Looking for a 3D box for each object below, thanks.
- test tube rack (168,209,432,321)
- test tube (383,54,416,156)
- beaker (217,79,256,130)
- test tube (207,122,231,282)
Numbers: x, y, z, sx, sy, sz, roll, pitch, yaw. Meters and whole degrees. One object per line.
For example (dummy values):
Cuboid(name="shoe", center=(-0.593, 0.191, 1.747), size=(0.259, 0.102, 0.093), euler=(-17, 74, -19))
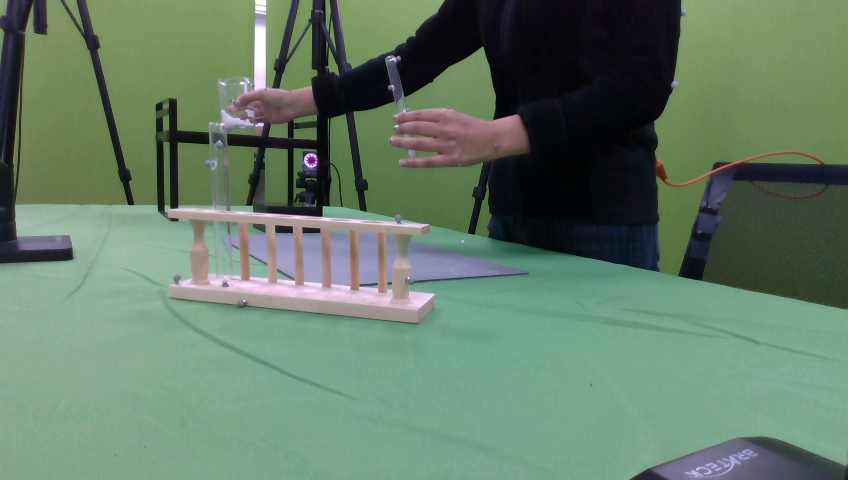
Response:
Cuboid(name="test tube rack", center=(-0.116, 0.018, 0.574), size=(0.242, 0.085, 0.067), euler=(4, 8, 14))
Cuboid(name="test tube", center=(-0.035, -0.195, 0.876), size=(0.017, 0.150, 0.017), euler=(-14, -1, 0))
Cuboid(name="beaker", center=(-0.396, -0.285, 1.279), size=(0.074, 0.100, 0.084), euler=(-3, 8, 12))
Cuboid(name="test tube", center=(-0.192, -0.034, 0.565), size=(0.017, 0.150, 0.017), euler=(1, 11, 0))
